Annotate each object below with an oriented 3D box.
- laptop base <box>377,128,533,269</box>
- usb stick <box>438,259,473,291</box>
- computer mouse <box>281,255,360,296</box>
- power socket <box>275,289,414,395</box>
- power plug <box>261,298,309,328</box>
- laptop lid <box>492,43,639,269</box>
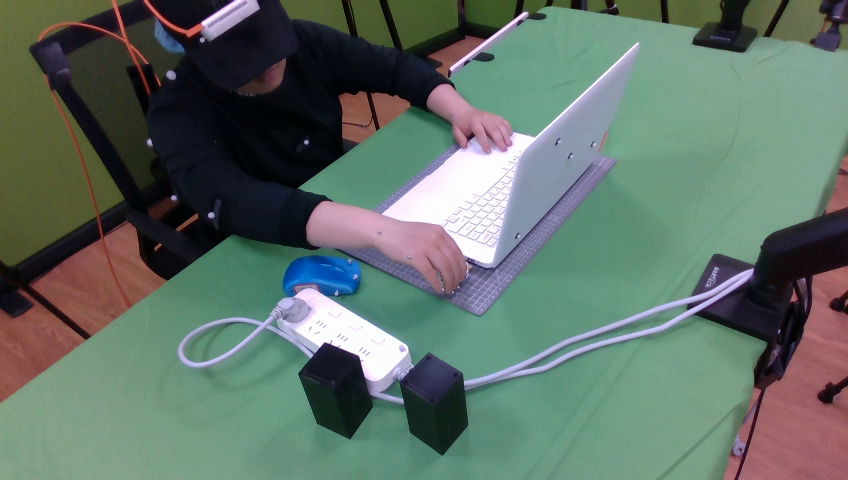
[{"bbox_3d":[0.115,-0.088,1.059,0.233,0.023,0.355,20,47,33],"label":"laptop base"},{"bbox_3d":[0.048,0.048,0.881,0.021,0.027,0.059,26,44,38],"label":"usb stick"},{"bbox_3d":[-0.156,0.054,0.917,0.117,0.041,0.062,1,38,2],"label":"computer mouse"},{"bbox_3d":[-0.115,0.133,0.820,0.225,0.033,0.072,25,49,32],"label":"power socket"},{"bbox_3d":[-0.193,0.108,0.831,0.073,0.053,0.035,-33,43,-26],"label":"power plug"},{"bbox_3d":[0.217,-0.129,0.911,0.013,0.242,0.358,32,51,21],"label":"laptop lid"}]
